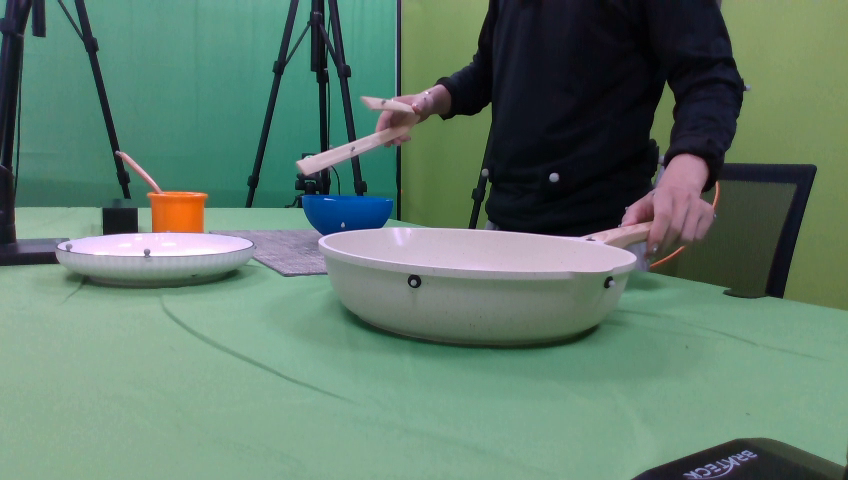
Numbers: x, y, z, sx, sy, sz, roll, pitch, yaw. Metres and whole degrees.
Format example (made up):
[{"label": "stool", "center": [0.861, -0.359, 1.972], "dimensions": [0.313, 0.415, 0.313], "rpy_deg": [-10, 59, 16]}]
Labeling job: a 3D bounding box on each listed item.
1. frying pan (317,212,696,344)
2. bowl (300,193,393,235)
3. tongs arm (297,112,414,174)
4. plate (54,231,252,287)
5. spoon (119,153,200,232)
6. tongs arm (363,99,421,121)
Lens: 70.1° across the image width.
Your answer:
[{"label": "frying pan", "center": [0.133, 0.013, 0.630], "dimensions": [0.490, 0.102, 0.305], "rpy_deg": [-12, 14, -31]}, {"label": "bowl", "center": [-0.128, -0.034, 0.995], "dimensions": [0.151, 0.077, 0.151], "rpy_deg": [2, 7, 0]}, {"label": "tongs arm", "center": [-0.103, -0.175, 1.044], "dimensions": [0.050, 0.026, 0.385], "rpy_deg": [-39, 2, 25]}, {"label": "plate", "center": [-0.309, 0.020, 0.705], "dimensions": [0.208, 0.039, 0.207], "rpy_deg": [2, 7, 0]}, {"label": "spoon", "center": [-0.439, -0.077, 1.000], "dimensions": [0.021, 0.193, 0.042], "rpy_deg": [-43, -7, 21]}, {"label": "tongs arm", "center": [-0.046, -0.218, 1.016], "dimensions": [0.028, 0.028, 0.388], "rpy_deg": [46, 14, -1]}]
